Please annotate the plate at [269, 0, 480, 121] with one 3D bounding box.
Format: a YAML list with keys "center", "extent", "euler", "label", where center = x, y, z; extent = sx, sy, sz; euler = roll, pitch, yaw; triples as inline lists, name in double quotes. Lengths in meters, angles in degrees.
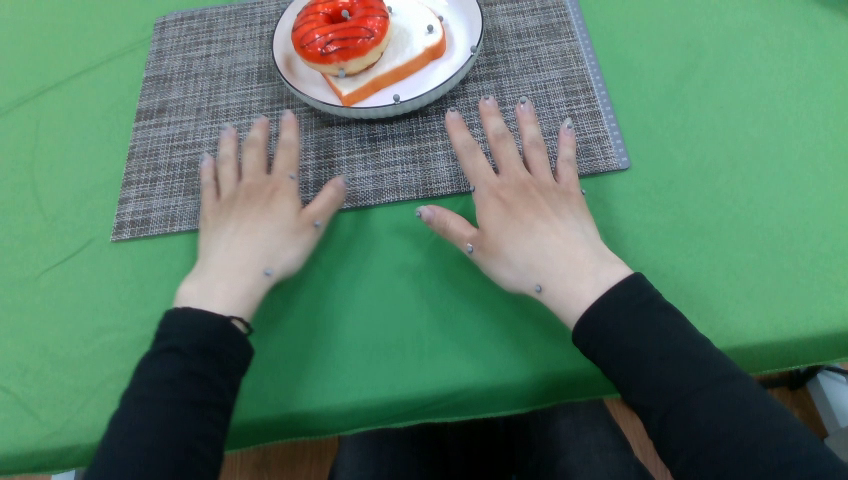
- center: [-0.047, -0.193, 0.604]
  extent: [0.207, 0.039, 0.205]
  euler: [-3, 59, 5]
  label: "plate"

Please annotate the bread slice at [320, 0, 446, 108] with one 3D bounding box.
- center: [-0.047, -0.196, 0.608]
  extent: [0.131, 0.019, 0.104]
  euler: [-30, 61, -10]
  label: "bread slice"

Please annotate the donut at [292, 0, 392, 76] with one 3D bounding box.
- center: [-0.078, -0.200, 0.578]
  extent: [0.099, 0.049, 0.098]
  euler: [-4, 60, 7]
  label: "donut"
